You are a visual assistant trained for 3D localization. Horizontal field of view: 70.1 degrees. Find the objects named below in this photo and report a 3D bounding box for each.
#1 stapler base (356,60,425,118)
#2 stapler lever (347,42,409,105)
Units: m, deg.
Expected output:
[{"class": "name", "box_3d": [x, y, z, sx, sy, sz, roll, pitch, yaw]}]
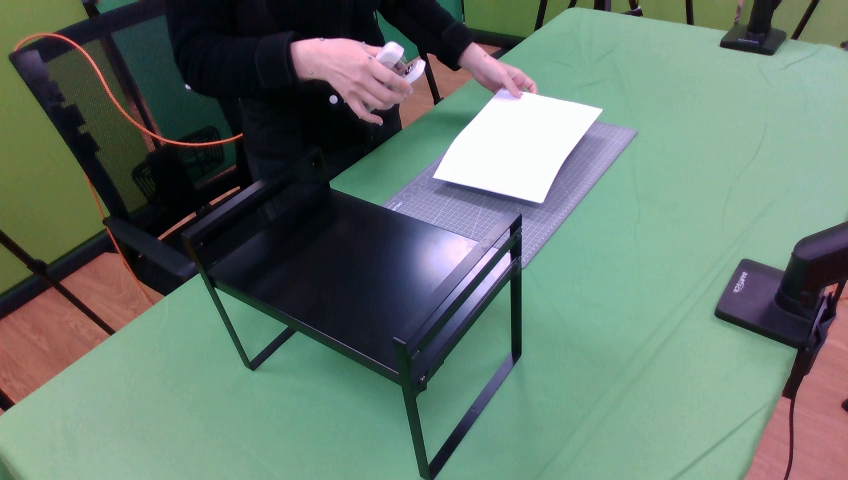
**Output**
[{"class": "stapler base", "box_3d": [-0.055, -0.225, 0.877, 0.130, 0.024, 0.041, -28, 28, 36]}, {"class": "stapler lever", "box_3d": [-0.072, -0.239, 0.867, 0.117, 0.040, 0.027, -26, 30, 35]}]
